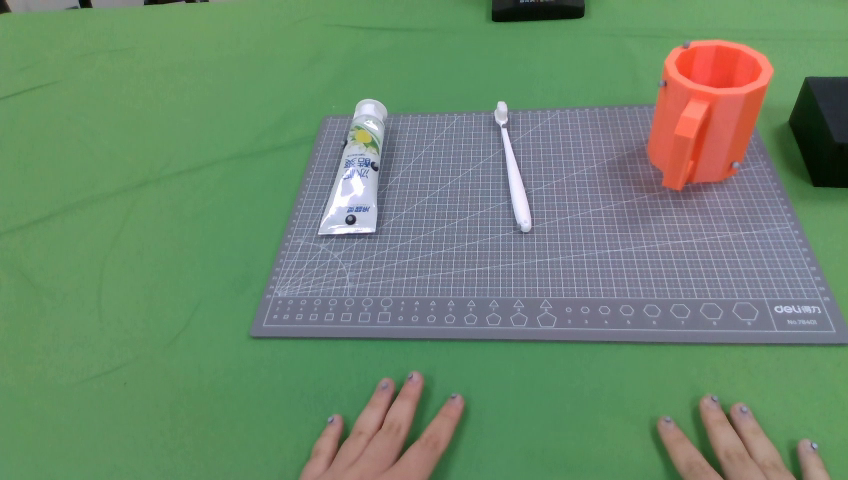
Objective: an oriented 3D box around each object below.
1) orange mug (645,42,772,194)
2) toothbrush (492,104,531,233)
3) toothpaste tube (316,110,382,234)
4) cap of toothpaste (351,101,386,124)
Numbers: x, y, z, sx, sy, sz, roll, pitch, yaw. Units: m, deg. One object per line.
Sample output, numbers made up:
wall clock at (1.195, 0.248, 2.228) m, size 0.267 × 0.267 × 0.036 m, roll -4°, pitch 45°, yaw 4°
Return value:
orange mug at (0.242, -0.103, 0.536) m, size 0.083 × 0.102 × 0.126 m, roll 22°, pitch 49°, yaw 26°
toothbrush at (0.084, -0.075, 0.587) m, size 0.014 × 0.017 × 0.180 m, roll 5°, pitch 47°, yaw -10°
toothpaste tube at (-0.067, -0.070, 0.596) m, size 0.055 × 0.035 × 0.163 m, roll -5°, pitch 50°, yaw 12°
cap of toothpaste at (-0.059, -0.132, 0.644) m, size 0.037 × 0.038 × 0.011 m, roll -1°, pitch 51°, yaw 7°
